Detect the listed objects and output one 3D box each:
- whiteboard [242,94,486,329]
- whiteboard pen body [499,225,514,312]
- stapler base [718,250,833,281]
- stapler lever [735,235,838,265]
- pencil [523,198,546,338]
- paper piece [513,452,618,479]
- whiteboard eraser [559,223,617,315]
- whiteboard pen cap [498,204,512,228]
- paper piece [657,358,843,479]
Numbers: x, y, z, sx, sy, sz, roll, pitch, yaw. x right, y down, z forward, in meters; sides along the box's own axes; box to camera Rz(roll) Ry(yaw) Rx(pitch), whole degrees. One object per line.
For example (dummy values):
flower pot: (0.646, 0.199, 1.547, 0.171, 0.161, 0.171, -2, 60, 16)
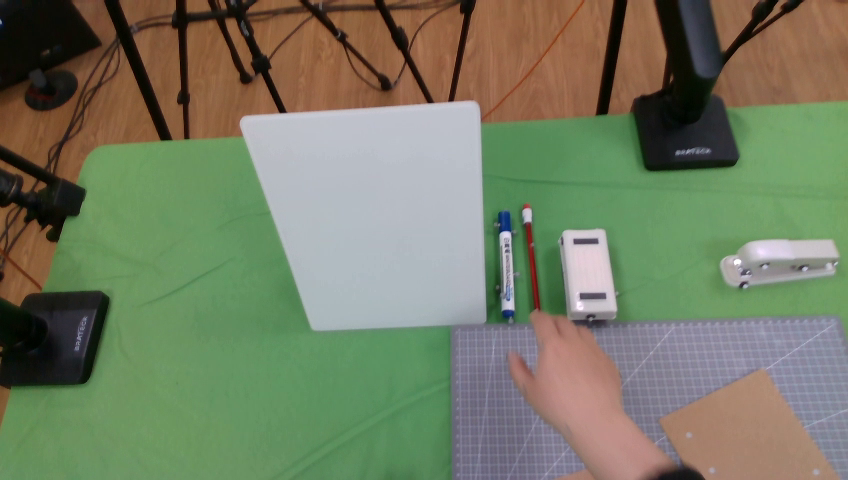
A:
whiteboard: (-0.042, -0.054, 0.687, 0.217, 0.308, 0.142, -2, 43, 5)
whiteboard pen body: (0.103, 0.023, 0.762, 0.017, 0.017, 0.139, -1, 62, 5)
stapler base: (0.426, 0.021, 0.728, 0.130, 0.024, 0.041, -6, 65, 0)
stapler lever: (0.425, 0.010, 0.707, 0.118, 0.040, 0.026, -7, 64, 1)
pencil: (0.139, 0.030, 0.758, 0.012, 0.012, 0.192, -4, 62, 4)
paper piece: (0.150, 0.301, 0.615, 0.135, 0.004, 0.134, -15, 63, -3)
whiteboard eraser: (0.197, 0.035, 0.733, 0.055, 0.042, 0.111, -3, 62, 5)
whiteboard pen cap: (0.106, -0.029, 0.787, 0.018, 0.018, 0.033, -3, 61, 4)
paper piece: (0.341, 0.214, 0.642, 0.136, 0.009, 0.137, -24, 65, -2)
